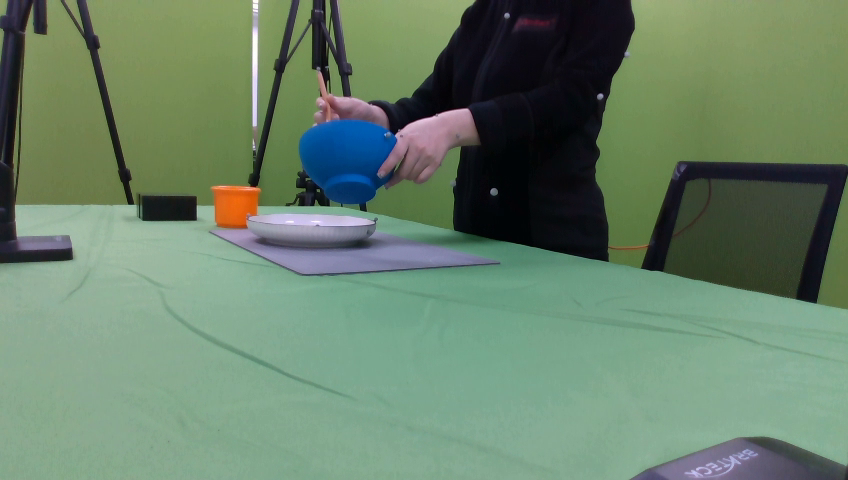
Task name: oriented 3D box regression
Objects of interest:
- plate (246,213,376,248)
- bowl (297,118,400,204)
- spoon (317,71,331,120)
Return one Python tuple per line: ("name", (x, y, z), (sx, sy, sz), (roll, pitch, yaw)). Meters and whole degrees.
("plate", (-0.185, -0.017, 0.994), (0.209, 0.038, 0.209), (3, 8, 0))
("bowl", (-0.109, -0.103, 0.883), (0.151, 0.076, 0.151), (-3, -23, -1))
("spoon", (-0.159, -0.202, 0.982), (0.021, 0.193, 0.042), (-10, -29, 3))
